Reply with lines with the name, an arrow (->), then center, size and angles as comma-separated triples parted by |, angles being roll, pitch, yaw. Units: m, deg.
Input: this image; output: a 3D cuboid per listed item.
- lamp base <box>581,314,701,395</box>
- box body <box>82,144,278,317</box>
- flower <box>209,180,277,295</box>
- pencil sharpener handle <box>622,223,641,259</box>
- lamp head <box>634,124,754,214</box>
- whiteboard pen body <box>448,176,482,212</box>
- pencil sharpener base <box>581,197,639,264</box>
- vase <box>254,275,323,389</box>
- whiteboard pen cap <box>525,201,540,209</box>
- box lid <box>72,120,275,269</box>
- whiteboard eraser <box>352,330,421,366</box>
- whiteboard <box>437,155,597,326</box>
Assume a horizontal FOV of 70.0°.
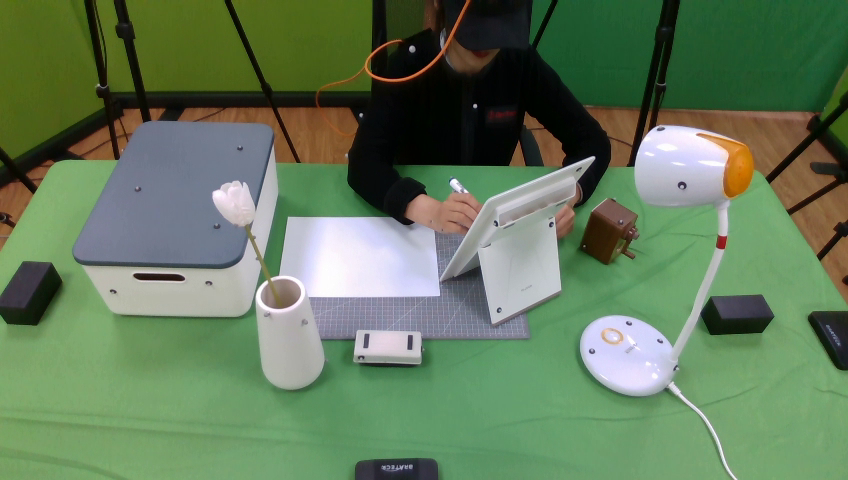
lamp base -> 0.361, 0.145, 0.973 | 0.178, 0.181, 0.160 | 34, 53, 23
box body -> -0.421, -0.041, 1.108 | 0.254, 0.161, 0.361 | 2, 46, -3
flower -> -0.216, 0.075, 0.871 | 0.044, 0.363, 0.038 | -29, 36, -19
pencil sharpener handle -> 0.398, 0.003, 1.146 | 0.030, 0.068, 0.036 | 37, 45, 27
lamp head -> 0.351, -0.089, 0.776 | 0.112, 0.113, 0.122 | -30, 30, -28
whiteboard pen body -> 0.087, -0.066, 1.074 | 0.017, 0.017, 0.140 | -24, 55, -24
pencil sharpener base -> 0.362, -0.017, 1.179 | 0.076, 0.107, 0.061 | 37, 54, 27
vase -> -0.209, 0.143, 0.921 | 0.098, 0.201, 0.097 | 1, 46, -1
whiteboard pen cap -> 0.230, -0.074, 1.289 | 0.033, 0.018, 0.018 | 4, 46, 4
box lid -> -0.417, -0.094, 1.056 | 0.263, 0.015, 0.369 | 1, 47, -3
whiteboard eraser -> -0.060, 0.180, 1.005 | 0.113, 0.042, 0.055 | 3, 48, -3
whiteboard -> 0.180, 0.024, 1.029 | 0.217, 0.306, 0.143 | -21, 70, -23
